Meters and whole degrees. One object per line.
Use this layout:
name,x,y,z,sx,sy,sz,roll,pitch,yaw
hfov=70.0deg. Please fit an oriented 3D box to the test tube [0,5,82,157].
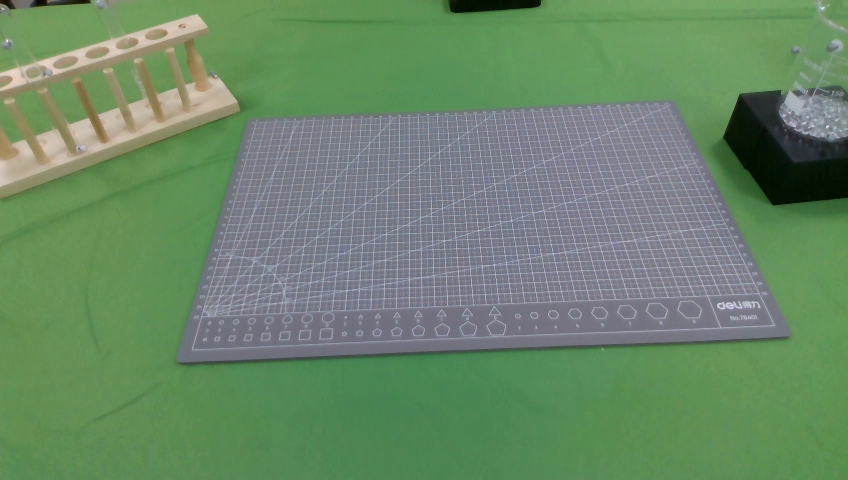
test tube,-0.348,-0.138,0.545,0.017,0.152,0.017,-1,45,2

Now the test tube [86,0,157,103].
test tube,-0.299,-0.197,0.589,0.017,0.152,0.017,-5,48,5

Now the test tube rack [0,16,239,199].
test tube rack,-0.321,-0.136,0.603,0.242,0.086,0.066,-26,51,-20

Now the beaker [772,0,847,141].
beaker,0.339,-0.141,0.500,0.074,0.101,0.083,-23,50,-17
